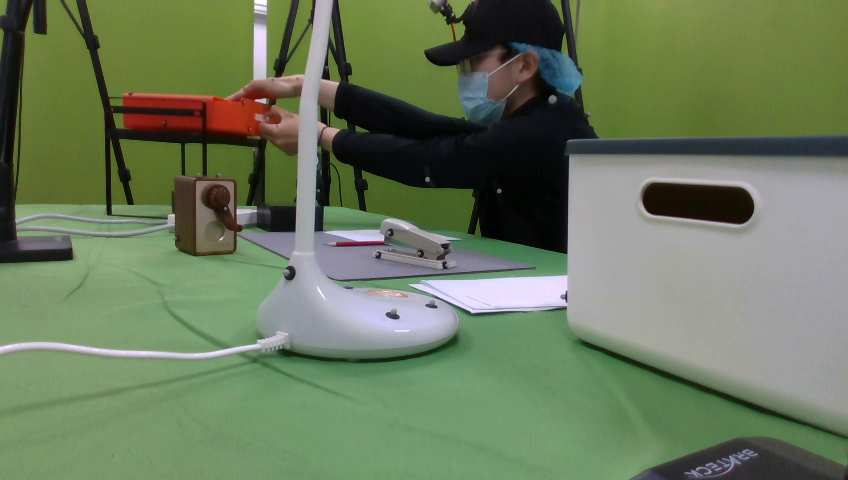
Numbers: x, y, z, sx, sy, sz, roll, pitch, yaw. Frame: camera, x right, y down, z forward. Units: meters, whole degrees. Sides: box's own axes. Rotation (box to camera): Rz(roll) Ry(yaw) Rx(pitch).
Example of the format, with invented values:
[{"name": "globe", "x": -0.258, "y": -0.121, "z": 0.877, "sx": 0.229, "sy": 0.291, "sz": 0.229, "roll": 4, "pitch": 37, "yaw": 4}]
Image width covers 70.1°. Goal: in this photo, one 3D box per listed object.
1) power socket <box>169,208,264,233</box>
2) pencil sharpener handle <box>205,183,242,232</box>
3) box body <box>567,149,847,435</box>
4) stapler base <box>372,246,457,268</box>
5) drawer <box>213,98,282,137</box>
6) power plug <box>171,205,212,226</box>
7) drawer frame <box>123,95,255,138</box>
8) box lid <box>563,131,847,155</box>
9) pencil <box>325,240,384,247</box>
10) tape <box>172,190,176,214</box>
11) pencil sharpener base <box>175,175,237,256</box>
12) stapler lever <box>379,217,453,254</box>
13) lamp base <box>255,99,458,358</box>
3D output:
[{"name": "power socket", "x": -0.381, "y": -0.038, "z": 1.129, "sx": 0.072, "sy": 0.032, "sz": 0.227, "roll": 4, "pitch": 8, "yaw": 17}, {"name": "pencil sharpener handle", "x": -0.265, "y": -0.043, "z": 0.812, "sx": 0.036, "sy": 0.068, "sz": 0.030, "roll": -31, "pitch": 27, "yaw": -35}, {"name": "box body", "x": 0.318, "y": 0.009, "z": 0.471, "sx": 0.366, "sy": 0.160, "sz": 0.253, "roll": -2, "pitch": 8, "yaw": -31}, {"name": "stapler base", "x": -0.016, "y": 0.017, "z": 0.831, "sx": 0.130, "sy": 0.024, "sz": 0.041, "roll": 10, "pitch": 12, "yaw": 39}, {"name": "drawer", "x": -0.457, "y": -0.276, "z": 1.366, "sx": 0.211, "sy": 0.073, "sz": 0.195, "roll": 4, "pitch": 8, "yaw": 11}, {"name": "power plug", "x": -0.455, "y": -0.040, "z": 1.196, "sx": 0.052, "sy": 0.035, "sz": 0.072, "roll": 2, "pitch": 45, "yaw": 24}, {"name": "drawer frame", "x": -0.523, "y": -0.280, "z": 1.376, "sx": 0.213, "sy": 0.082, "sz": 0.202, "roll": 3, "pitch": 8, "yaw": 8}, {"name": "box lid", "x": 0.322, "y": -0.064, "z": 0.463, "sx": 0.373, "sy": 0.015, "sz": 0.262, "roll": -2, "pitch": 9, "yaw": -31}, {"name": "pencil", "x": -0.066, "y": 0.003, "z": 0.979, "sx": 0.195, "sy": 0.012, "sz": 0.012, "roll": -3, "pitch": 9, "yaw": -25}, {"name": "tape", "x": -0.515, "y": -0.087, "z": 1.388, "sx": 0.117, "sy": 0.052, "sz": 0.117, "roll": 3, "pitch": 8, "yaw": 0}, {"name": "pencil sharpener base", "x": -0.304, "y": -0.036, "z": 0.847, "sx": 0.062, "sy": 0.107, "sz": 0.076, "roll": -4, "pitch": 10, "yaw": -42}, {"name": "stapler lever", "x": -0.013, "y": -0.007, "z": 0.828, "sx": 0.117, "sy": 0.040, "sz": 0.027, "roll": 9, "pitch": 11, "yaw": 39}, {"name": "lamp base", "x": -0.056, "y": -0.013, "z": 0.462, "sx": 0.160, "sy": 0.180, "sz": 0.180, "roll": 6, "pitch": 11, "yaw": 27}]
